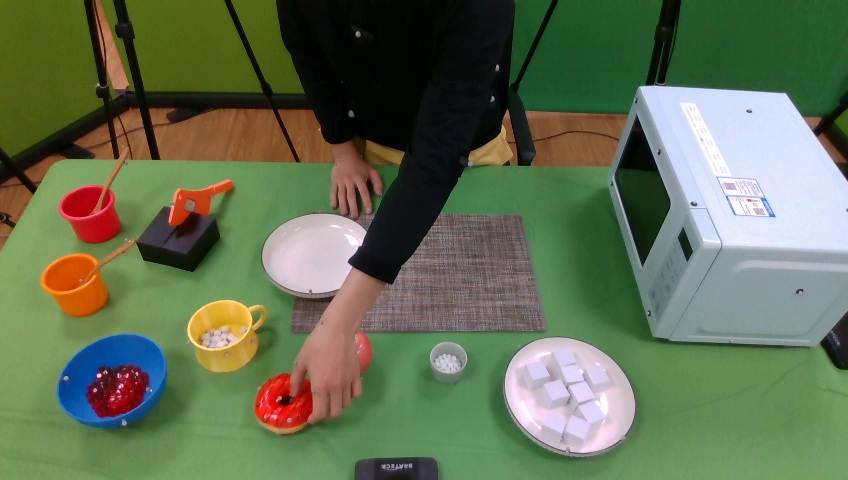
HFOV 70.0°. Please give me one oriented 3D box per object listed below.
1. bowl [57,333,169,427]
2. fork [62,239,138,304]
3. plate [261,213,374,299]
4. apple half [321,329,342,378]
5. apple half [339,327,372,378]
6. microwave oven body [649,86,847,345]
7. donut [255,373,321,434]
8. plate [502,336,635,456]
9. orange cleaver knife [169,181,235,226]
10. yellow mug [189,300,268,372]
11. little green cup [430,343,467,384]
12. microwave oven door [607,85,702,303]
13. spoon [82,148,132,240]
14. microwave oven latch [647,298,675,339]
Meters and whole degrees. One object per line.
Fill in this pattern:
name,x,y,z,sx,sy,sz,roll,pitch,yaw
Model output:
bowl,-0.456,0.223,0.912,0.151,0.077,0.150,3,45,-2
fork,-0.547,0.053,1.018,0.207,0.019,0.028,-36,41,23
plate,-0.198,0.032,1.137,0.209,0.038,0.208,2,46,-2
apple half,-0.149,0.186,0.972,0.033,0.081,0.080,-2,46,-13
apple half,-0.111,0.183,0.980,0.053,0.075,0.080,-2,42,-12
microwave oven body,0.568,-0.053,1.118,0.326,0.261,0.439,2,45,-1
donut,-0.209,0.249,0.929,0.099,0.048,0.098,3,44,-3
plate,0.225,0.248,0.963,0.208,0.039,0.206,2,46,-2
orange cleaver knife,-0.435,-0.076,1.199,0.012,0.077,0.211,18,17,9
yellow mug,-0.316,0.149,1.002,0.131,0.064,0.099,-32,56,-31
little green cup,0.039,0.203,0.993,0.061,0.039,0.061,2,46,-2
microwave oven door,0.423,-0.094,1.140,0.039,0.245,0.353,2,46,-1
spoon,-0.602,-0.089,1.156,0.041,0.022,0.193,27,95,20
microwave oven latch,0.413,0.134,1.061,0.030,0.029,0.078,5,45,2
